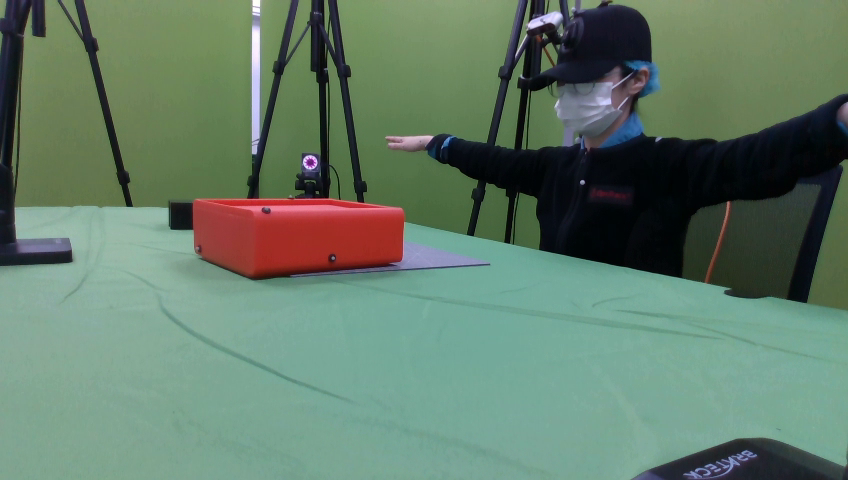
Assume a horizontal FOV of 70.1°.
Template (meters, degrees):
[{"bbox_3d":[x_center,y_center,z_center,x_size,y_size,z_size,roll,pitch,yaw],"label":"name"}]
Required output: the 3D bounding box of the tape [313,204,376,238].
[{"bbox_3d":[-0.145,-0.036,1.117,0.117,0.052,0.117,3,8,0],"label":"tape"}]

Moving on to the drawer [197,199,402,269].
[{"bbox_3d":[-0.169,-0.014,0.817,0.213,0.073,0.193,-4,10,-39],"label":"drawer"}]

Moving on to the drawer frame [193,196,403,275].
[{"bbox_3d":[-0.170,-0.014,0.814,0.215,0.082,0.200,-5,10,-40],"label":"drawer frame"}]
